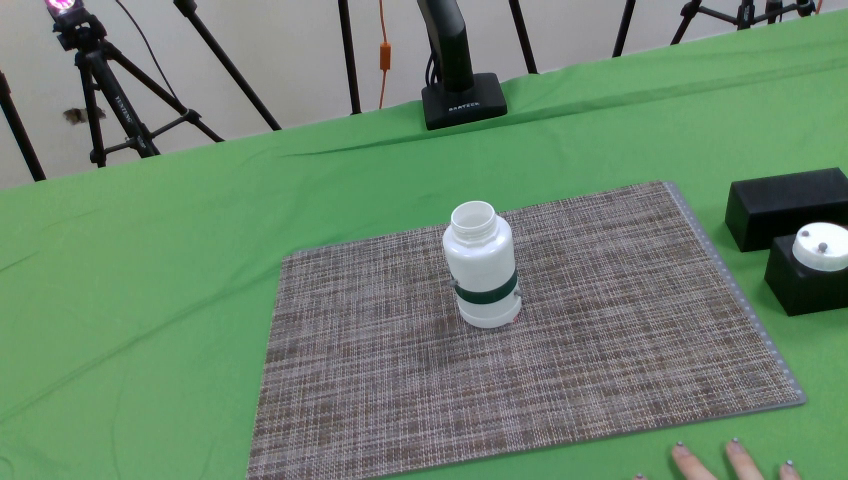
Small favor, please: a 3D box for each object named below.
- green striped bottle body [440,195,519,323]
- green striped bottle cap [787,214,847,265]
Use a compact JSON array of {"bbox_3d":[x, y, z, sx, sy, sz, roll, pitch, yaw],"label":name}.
[{"bbox_3d":[0.051,0.016,0.560,0.063,0.120,0.062,-8,42,8],"label":"green striped bottle body"},{"bbox_3d":[0.331,-0.001,0.506,0.044,0.020,0.044,-6,42,6],"label":"green striped bottle cap"}]
